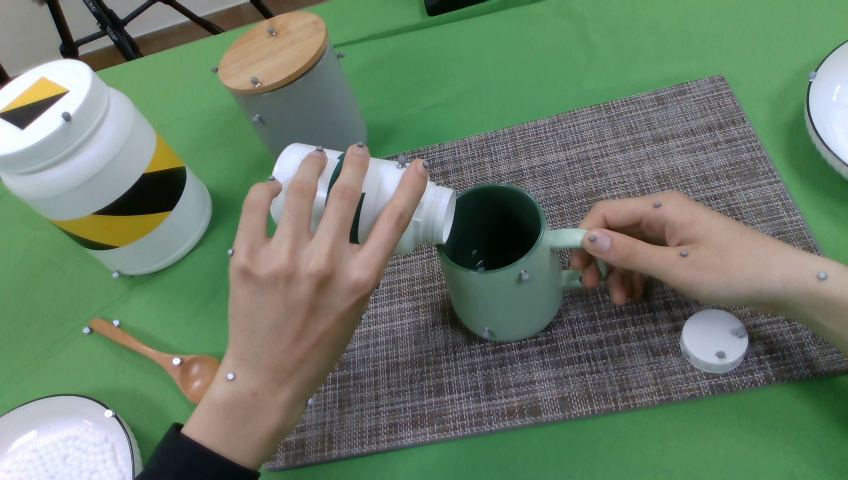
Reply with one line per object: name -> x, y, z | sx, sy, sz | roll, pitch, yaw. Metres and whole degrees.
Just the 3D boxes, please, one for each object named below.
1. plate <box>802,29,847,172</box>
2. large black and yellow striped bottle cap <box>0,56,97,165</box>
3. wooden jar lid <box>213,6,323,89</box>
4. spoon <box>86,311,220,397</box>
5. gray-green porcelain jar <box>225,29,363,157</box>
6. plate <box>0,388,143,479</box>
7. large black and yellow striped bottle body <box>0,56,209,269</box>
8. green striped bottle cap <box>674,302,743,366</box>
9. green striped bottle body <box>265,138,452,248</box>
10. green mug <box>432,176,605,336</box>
plate -> 0.414, -0.104, 0.478 | 0.207, 0.039, 0.205 | -8, 55, 12
large black and yellow striped bottle cap -> -0.333, -0.113, 0.515 | 0.115, 0.019, 0.114 | -8, 54, 11
wooden jar lid -> -0.140, -0.174, 0.556 | 0.108, 0.021, 0.107 | -10, 54, 14
spoon -> -0.254, 0.095, 0.556 | 0.192, 0.022, 0.041 | 17, 82, 25
gray-green porcelain jar -> -0.125, -0.136, 0.605 | 0.105, 0.128, 0.105 | -9, 51, 11
plate -> -0.314, 0.222, 0.481 | 0.209, 0.038, 0.207 | -8, 55, 12
large black and yellow striped bottle body -> -0.311, -0.069, 0.583 | 0.130, 0.186, 0.129 | -8, 56, 12
green striped bottle cap -> 0.205, 0.067, 0.438 | 0.044, 0.020, 0.044 | -8, 50, 10
green striped bottle body -> -0.043, -0.031, 0.420 | 0.119, 0.064, 0.063 | 11, 61, 10
green mug -> 0.072, 0.013, 0.457 | 0.125, 0.106, 0.091 | -5, 56, 14
